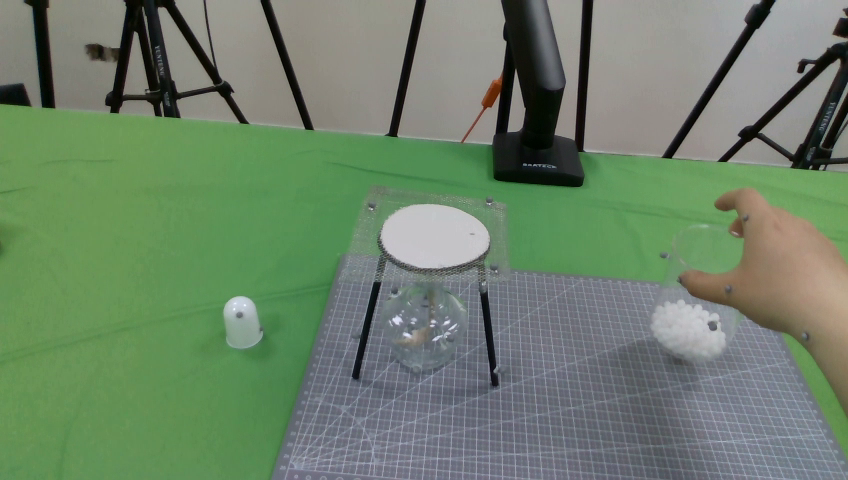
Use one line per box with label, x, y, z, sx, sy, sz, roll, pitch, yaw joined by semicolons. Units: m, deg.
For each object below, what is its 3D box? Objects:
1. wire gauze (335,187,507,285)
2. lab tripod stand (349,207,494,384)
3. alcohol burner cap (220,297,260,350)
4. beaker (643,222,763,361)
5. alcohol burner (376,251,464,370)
wire gauze;0.002;-0.004;0.471;0.121;0.011;0.124;5;36;2
lab tripod stand;0.000;0.047;0.516;0.148;0.132;0.147;1;36;-1
alcohol burner cap;-0.167;0.073;0.547;0.034;0.048;0.033;3;38;-2
beaker;0.232;0.049;0.516;0.074;0.101;0.083;12;40;15
alcohol burner;-0.002;0.056;0.521;0.078;0.120;0.077;4;39;-3
